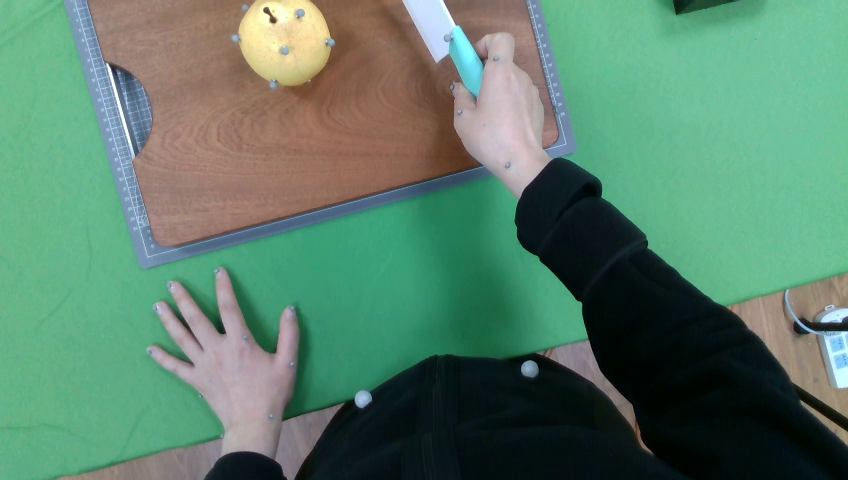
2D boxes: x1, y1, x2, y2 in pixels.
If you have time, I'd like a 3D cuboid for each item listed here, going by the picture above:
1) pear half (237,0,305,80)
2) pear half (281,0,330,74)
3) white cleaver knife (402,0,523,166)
[{"bbox_3d":[-0.134,-0.179,0.518,0.056,0.110,0.076,-13,87,-1],"label":"pear half"},{"bbox_3d":[-0.100,-0.185,0.529,0.031,0.088,0.070,-13,87,-2],"label":"pear half"},{"bbox_3d":[0.012,-0.195,0.537,0.021,0.065,0.287,-32,100,-20],"label":"white cleaver knife"}]
